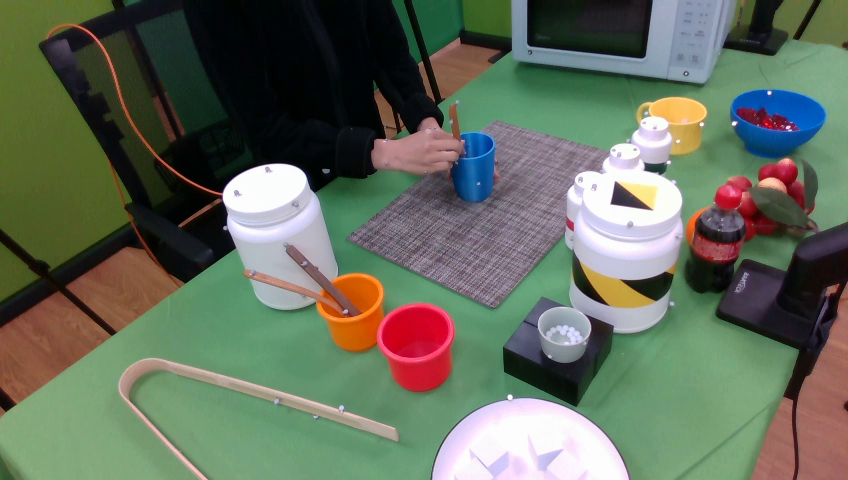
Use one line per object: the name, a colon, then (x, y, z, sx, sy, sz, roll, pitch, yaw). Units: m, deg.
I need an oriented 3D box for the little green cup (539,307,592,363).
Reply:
little green cup: (0.168, 0.115, 0.721, 0.061, 0.039, 0.061, -4, 42, 4)

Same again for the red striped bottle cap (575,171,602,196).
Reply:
red striped bottle cap: (0.242, -0.081, 0.876, 0.044, 0.018, 0.044, -5, 43, 5)

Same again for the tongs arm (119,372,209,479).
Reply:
tongs arm: (-0.258, 0.257, 0.700, 0.384, 0.028, 0.028, 24, 55, 34)

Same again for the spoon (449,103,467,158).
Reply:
spoon: (0.061, -0.151, 0.993, 0.041, 0.195, 0.021, -23, 49, -1)

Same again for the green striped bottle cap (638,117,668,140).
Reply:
green striped bottle cap: (0.369, -0.180, 0.974, 0.044, 0.020, 0.044, -4, 41, 4)

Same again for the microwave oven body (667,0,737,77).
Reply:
microwave oven body: (0.462, -0.552, 1.368, 0.439, 0.261, 0.326, 14, 45, 26)

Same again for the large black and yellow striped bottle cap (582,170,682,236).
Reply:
large black and yellow striped bottle cap: (0.252, -0.048, 0.735, 0.115, 0.019, 0.114, -3, 40, 3)

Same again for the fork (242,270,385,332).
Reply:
fork: (-0.142, 0.082, 0.802, 0.209, 0.018, 0.028, 28, 38, -26)

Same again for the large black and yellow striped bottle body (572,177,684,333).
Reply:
large black and yellow striped bottle body: (0.262, 0.017, 0.788, 0.131, 0.185, 0.130, -5, 40, 4)

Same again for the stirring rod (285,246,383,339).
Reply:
stirring rod: (-0.121, 0.071, 0.819, 0.176, 0.006, 0.014, 44, 52, -6)

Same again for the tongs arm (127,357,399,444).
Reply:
tongs arm: (-0.213, 0.205, 0.755, 0.382, 0.026, 0.051, 12, 45, 23)

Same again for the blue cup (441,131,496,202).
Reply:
blue cup: (0.084, -0.122, 1.039, 0.092, 0.100, 0.092, -4, 41, 4)

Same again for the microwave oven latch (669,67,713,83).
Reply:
microwave oven latch: (0.556, -0.349, 1.261, 0.078, 0.029, 0.030, 16, 46, 27)

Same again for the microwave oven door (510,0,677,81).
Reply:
microwave oven door: (0.354, -0.478, 1.290, 0.353, 0.245, 0.039, 15, 45, 25)

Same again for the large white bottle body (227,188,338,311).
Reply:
large white bottle body: (-0.207, -0.002, 0.883, 0.130, 0.185, 0.130, -4, 40, 4)

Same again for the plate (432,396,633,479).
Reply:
plate: (0.112, 0.261, 0.634, 0.209, 0.038, 0.208, -5, 40, 4)

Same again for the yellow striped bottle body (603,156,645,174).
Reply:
yellow striped bottle body: (0.313, -0.089, 0.956, 0.063, 0.121, 0.062, -4, 40, 4)

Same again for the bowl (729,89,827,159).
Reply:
bowl: (0.615, -0.197, 1.069, 0.151, 0.077, 0.150, -5, 40, 5)

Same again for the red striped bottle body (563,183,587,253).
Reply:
red striped bottle body: (0.246, -0.041, 0.910, 0.063, 0.120, 0.062, -2, 38, 2)

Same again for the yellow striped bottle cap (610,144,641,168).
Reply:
yellow striped bottle cap: (0.307, -0.128, 0.923, 0.044, 0.019, 0.044, -6, 39, 5)

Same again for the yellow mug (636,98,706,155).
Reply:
yellow mug: (0.453, -0.217, 1.128, 0.100, 0.064, 0.129, -34, 46, -27)

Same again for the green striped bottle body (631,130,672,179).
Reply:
green striped bottle body: (0.375, -0.140, 1.007, 0.063, 0.120, 0.063, -5, 40, 4)

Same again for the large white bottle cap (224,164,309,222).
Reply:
large white bottle cap: (-0.216, -0.066, 0.829, 0.115, 0.018, 0.114, -4, 40, 4)
